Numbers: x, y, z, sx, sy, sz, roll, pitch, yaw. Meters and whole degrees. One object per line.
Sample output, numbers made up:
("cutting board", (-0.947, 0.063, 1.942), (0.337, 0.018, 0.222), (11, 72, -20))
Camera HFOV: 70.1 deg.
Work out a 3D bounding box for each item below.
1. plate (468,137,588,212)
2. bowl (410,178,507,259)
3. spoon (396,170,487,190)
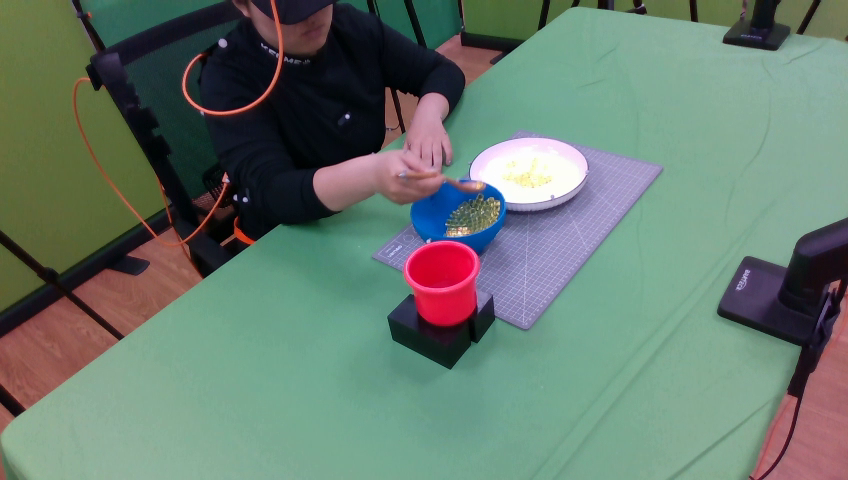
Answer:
("plate", (0.182, -0.112, 1.064), (0.207, 0.039, 0.206), (-5, 40, 5))
("bowl", (0.057, -0.023, 0.951), (0.151, 0.077, 0.150), (-5, 40, 5))
("spoon", (0.027, -0.090, 0.874), (0.041, 0.021, 0.195), (21, 10, 39))
